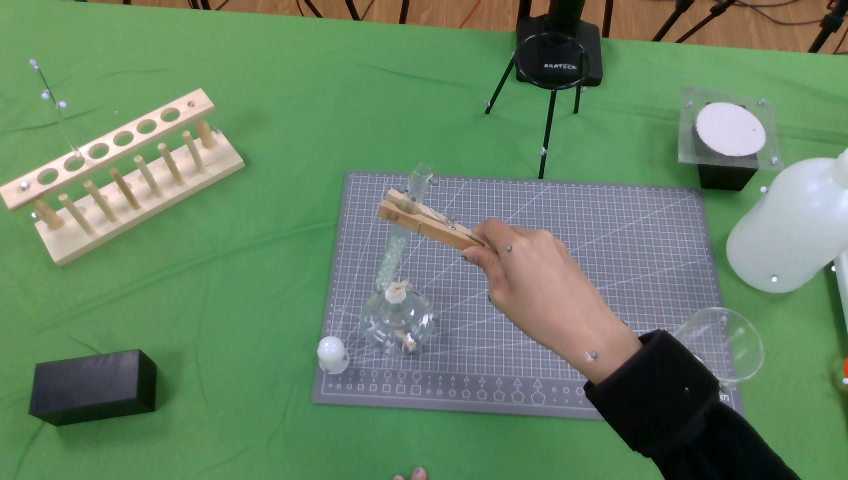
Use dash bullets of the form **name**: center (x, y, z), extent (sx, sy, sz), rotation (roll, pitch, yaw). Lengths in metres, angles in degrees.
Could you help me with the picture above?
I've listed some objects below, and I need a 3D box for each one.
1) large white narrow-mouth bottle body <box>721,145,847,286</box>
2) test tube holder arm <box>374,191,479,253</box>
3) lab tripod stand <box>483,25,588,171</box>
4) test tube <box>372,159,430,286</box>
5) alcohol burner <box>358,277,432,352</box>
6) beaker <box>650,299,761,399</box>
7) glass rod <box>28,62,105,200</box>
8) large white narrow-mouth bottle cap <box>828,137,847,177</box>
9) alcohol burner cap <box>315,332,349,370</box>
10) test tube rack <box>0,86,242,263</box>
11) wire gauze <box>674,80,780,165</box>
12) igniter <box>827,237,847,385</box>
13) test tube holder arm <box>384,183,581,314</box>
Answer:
- **large white narrow-mouth bottle body**: center (0.401, -0.034, 0.641), extent (0.102, 0.196, 0.101), rotation (0, 60, 0)
- **test tube holder arm**: center (0.002, -0.014, 0.477), extent (0.088, 0.015, 0.010), rotation (25, 38, 1)
- **lab tripod stand**: center (0.146, -0.181, 0.753), extent (0.148, 0.132, 0.147), rotation (1, 62, -2)
- **test tube**: center (-0.022, -0.009, 0.503), extent (0.017, 0.151, 0.017), rotation (10, 48, -11)
- **alcohol burner**: center (-0.029, 0.069, 0.619), extent (0.078, 0.120, 0.077), rotation (2, 60, -2)
- **beaker**: center (0.273, 0.113, 0.608), extent (0.084, 0.101, 0.073), rotation (8, 60, 5)
- **glass rod**: center (-0.381, -0.106, 0.653), extent (0.008, 0.201, 0.008), rotation (3, 52, -3)
- **large white narrow-mouth bottle cap**: center (0.402, -0.078, 0.566), extent (0.038, 0.024, 0.037), rotation (0, 60, 0)
- **alcohol burner cap**: center (-0.098, 0.114, 0.633), extent (0.034, 0.048, 0.033), rotation (-1, 62, 1)
- **test tube rack**: center (-0.347, -0.078, 0.713), extent (0.242, 0.086, 0.066), rotation (-33, 67, -18)
- **wire gauze**: center (0.373, -0.146, 0.753), extent (0.121, 0.011, 0.124), rotation (10, 61, 5)
- **igniter**: center (0.474, 0.115, 0.655), extent (0.057, 0.025, 0.274), rotation (12, 61, -5)
- **test tube holder arm**: center (0.043, 0.005, 0.476), extent (0.178, 0.015, 0.013), rotation (31, 40, 9)
